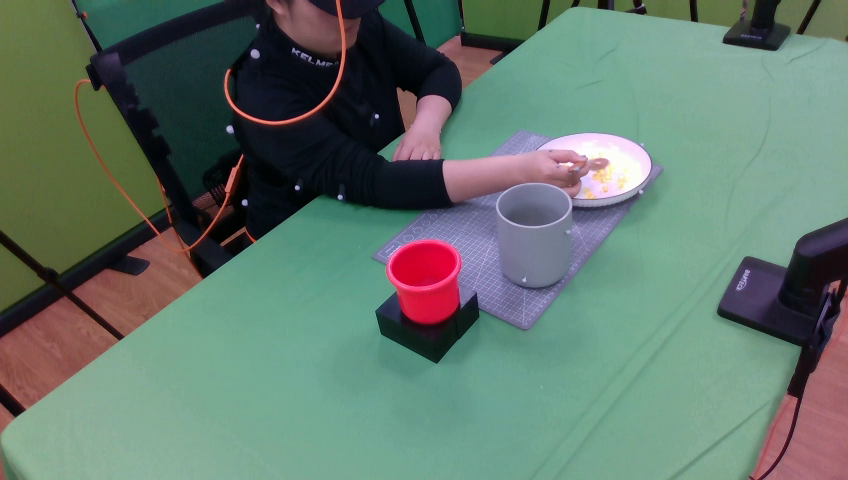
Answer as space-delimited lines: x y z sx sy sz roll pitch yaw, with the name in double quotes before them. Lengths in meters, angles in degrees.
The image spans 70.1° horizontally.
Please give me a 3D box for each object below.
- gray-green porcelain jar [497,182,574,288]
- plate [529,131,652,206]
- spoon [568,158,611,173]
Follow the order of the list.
"gray-green porcelain jar" 0.161 -0.003 0.869 0.106 0.127 0.105 -5 40 5
"plate" 0.287 -0.121 1.056 0.207 0.039 0.206 -5 40 5
"spoon" 0.259 -0.119 0.960 0.041 0.021 0.195 3 8 30
